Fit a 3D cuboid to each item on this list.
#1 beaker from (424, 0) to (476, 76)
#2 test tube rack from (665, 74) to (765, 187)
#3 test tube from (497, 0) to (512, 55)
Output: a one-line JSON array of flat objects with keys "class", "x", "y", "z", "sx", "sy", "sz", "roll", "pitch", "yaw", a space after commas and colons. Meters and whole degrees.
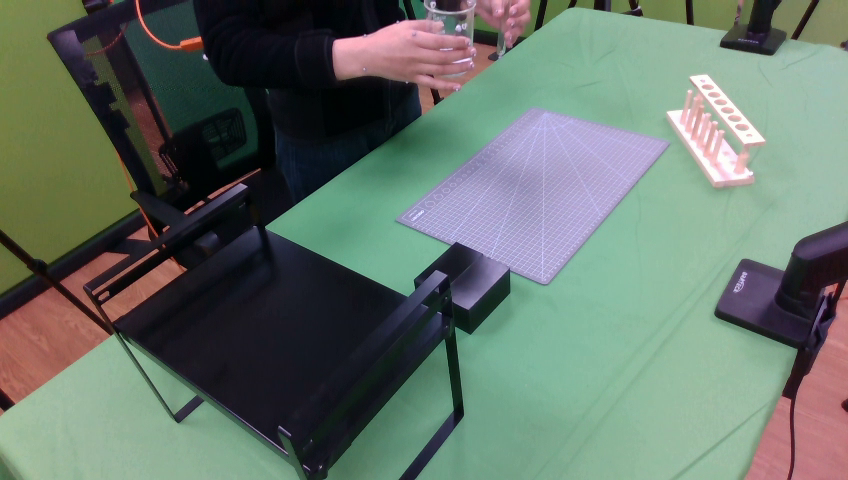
[{"class": "beaker", "x": 0.040, "y": -0.302, "z": 0.889, "sx": 0.084, "sy": 0.100, "sz": 0.073, "roll": -27, "pitch": 50, "yaw": -25}, {"class": "test tube rack", "x": 0.512, "y": -0.201, "z": 1.082, "sx": 0.067, "sy": 0.085, "sz": 0.241, "roll": -6, "pitch": 41, "yaw": 2}, {"class": "test tube", "x": 0.133, "y": -0.371, "z": 0.987, "sx": 0.017, "sy": 0.151, "sz": 0.017, "roll": 1, "pitch": 48, "yaw": -1}]
